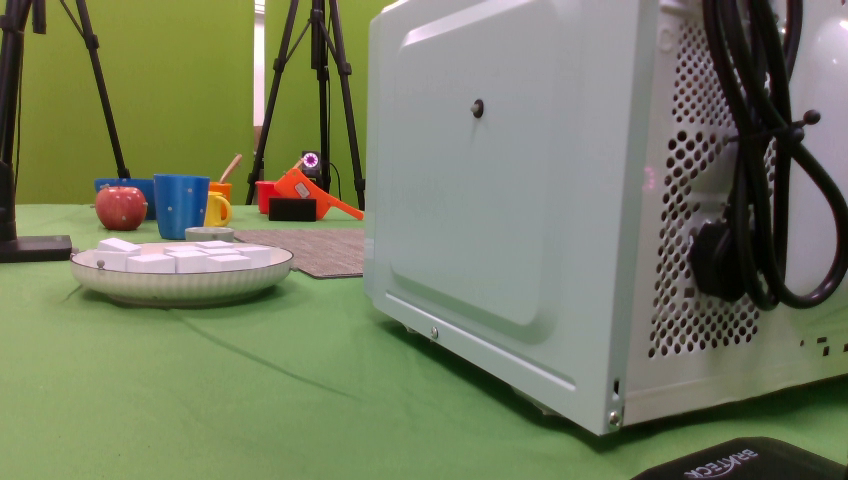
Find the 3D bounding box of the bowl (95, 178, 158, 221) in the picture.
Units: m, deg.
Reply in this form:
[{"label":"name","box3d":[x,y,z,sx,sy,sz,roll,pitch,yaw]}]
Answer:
[{"label":"bowl","box3d":[-0.576,-0.081,1.217,0.151,0.077,0.151,3,8,0]}]

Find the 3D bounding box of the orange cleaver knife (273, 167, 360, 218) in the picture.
[{"label":"orange cleaver knife","box3d":[-0.238,-0.091,1.381,0.212,0.077,0.012,31,0,-19]}]

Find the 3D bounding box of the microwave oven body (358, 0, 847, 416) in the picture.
[{"label":"microwave oven body","box3d":[0.211,-0.047,0.474,0.444,0.260,0.324,-1,7,-28]}]

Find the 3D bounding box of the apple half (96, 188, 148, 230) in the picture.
[{"label":"apple half","box3d":[-0.517,-0.052,1.036,0.081,0.074,0.053,2,10,-26]}]

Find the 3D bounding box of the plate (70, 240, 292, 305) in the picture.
[{"label":"plate","box3d":[-0.242,0.031,0.618,0.208,0.039,0.207,2,8,0]}]

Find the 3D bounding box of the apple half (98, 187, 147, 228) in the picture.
[{"label":"apple half","box3d":[-0.534,-0.059,1.071,0.082,0.081,0.032,-1,11,-25]}]

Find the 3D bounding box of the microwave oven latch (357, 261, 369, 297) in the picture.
[{"label":"microwave oven latch","box3d":[-0.019,0.033,0.531,0.079,0.029,0.030,-1,7,-28]}]

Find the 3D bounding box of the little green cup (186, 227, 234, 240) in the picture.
[{"label":"little green cup","box3d":[-0.285,0.005,0.805,0.061,0.038,0.061,2,8,0]}]

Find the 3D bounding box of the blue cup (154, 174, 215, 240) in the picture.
[{"label":"blue cup","box3d":[-0.391,-0.053,0.978,0.093,0.100,0.092,4,6,0]}]

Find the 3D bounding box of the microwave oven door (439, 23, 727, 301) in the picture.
[{"label":"microwave oven door","box3d":[0.181,-0.072,0.621,0.358,0.243,0.039,-2,8,-29]}]

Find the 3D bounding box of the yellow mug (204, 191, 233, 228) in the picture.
[{"label":"yellow mug","box3d":[-0.415,-0.057,1.131,0.130,0.064,0.100,6,8,16]}]

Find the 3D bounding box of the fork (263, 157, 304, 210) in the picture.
[{"label":"fork","box3d":[-0.345,-0.143,1.505,0.028,0.019,0.207,-3,46,28]}]

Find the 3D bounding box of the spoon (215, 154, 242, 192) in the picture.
[{"label":"spoon","box3d":[-0.439,-0.124,1.318,0.041,0.193,0.022,5,-36,16]}]

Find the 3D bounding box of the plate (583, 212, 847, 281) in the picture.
[{"label":"plate","box3d":[0.239,0.002,0.510,0.209,0.038,0.209,2,7,0]}]
